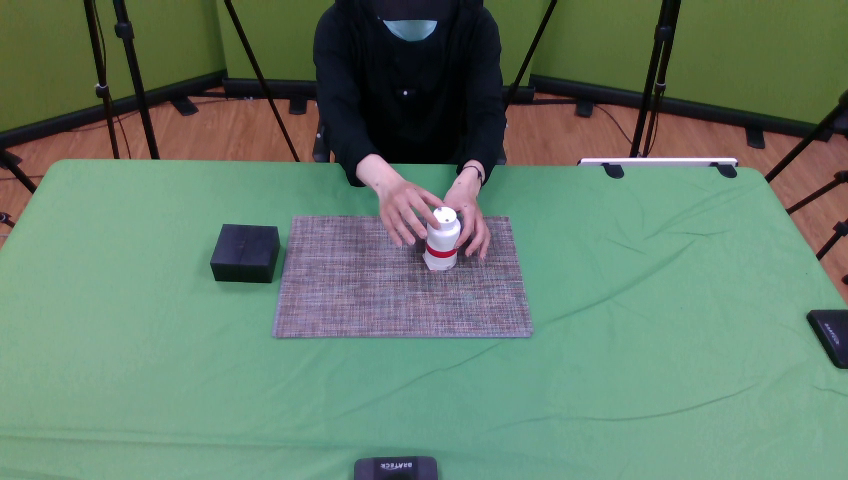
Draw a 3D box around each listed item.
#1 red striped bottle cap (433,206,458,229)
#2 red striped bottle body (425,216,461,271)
[{"bbox_3d":[0.038,-0.041,1.090,0.044,0.018,0.044,-2,47,3],"label":"red striped bottle cap"},{"bbox_3d":[0.035,-0.004,1.128,0.063,0.120,0.062,2,46,-2],"label":"red striped bottle body"}]
